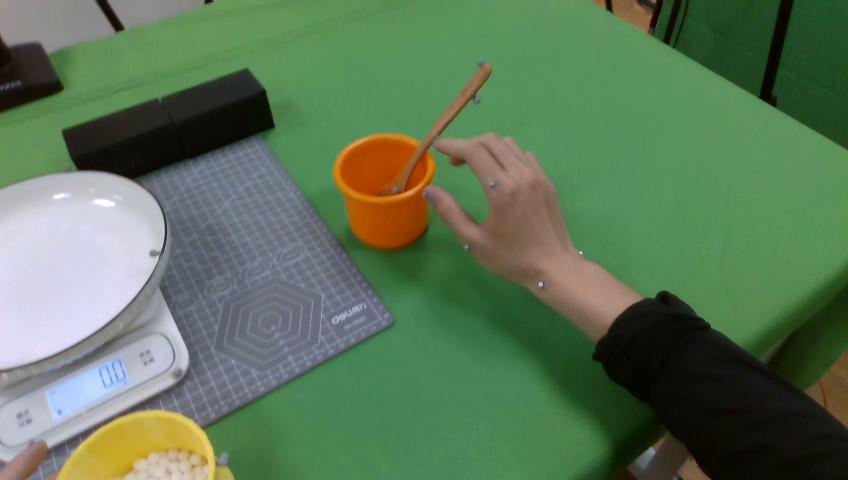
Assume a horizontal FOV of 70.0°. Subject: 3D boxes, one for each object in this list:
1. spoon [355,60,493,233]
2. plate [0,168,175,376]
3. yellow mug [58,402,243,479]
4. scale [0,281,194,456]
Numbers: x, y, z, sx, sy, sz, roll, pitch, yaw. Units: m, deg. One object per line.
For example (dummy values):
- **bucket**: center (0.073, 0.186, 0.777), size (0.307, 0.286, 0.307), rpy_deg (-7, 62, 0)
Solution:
- **spoon**: center (-0.001, -0.083, 0.552), size (0.041, 0.194, 0.022), rpy_deg (49, 21, 29)
- **plate**: center (-0.309, 0.023, 0.496), size (0.209, 0.038, 0.207), rpy_deg (0, 49, 0)
- **yellow mug**: center (-0.161, 0.170, 0.394), size (0.130, 0.064, 0.099), rpy_deg (15, 53, 11)
- **scale**: center (-0.293, 0.062, 0.505), size (0.149, 0.032, 0.199), rpy_deg (-27, 55, -20)
